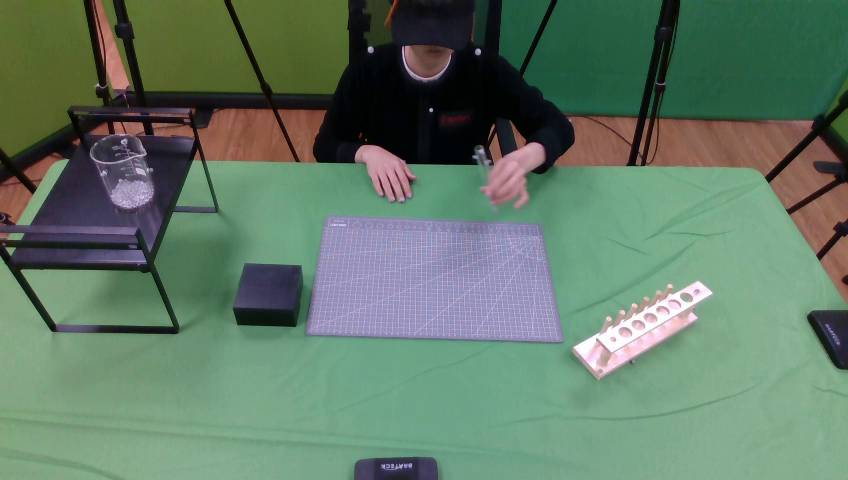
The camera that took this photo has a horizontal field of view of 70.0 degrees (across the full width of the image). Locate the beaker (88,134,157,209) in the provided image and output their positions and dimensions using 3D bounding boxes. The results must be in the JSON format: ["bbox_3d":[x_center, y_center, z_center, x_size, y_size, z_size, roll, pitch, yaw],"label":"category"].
[{"bbox_3d":[-0.470,-0.105,0.961,0.084,0.101,0.073,4,46,0],"label":"beaker"}]

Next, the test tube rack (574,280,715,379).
[{"bbox_3d":[0.378,0.140,1.038,0.242,0.085,0.066,-22,51,-23],"label":"test tube rack"}]

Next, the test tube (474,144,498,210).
[{"bbox_3d":[0.114,-0.111,1.100,0.017,0.151,0.017,-11,42,11],"label":"test tube"}]
